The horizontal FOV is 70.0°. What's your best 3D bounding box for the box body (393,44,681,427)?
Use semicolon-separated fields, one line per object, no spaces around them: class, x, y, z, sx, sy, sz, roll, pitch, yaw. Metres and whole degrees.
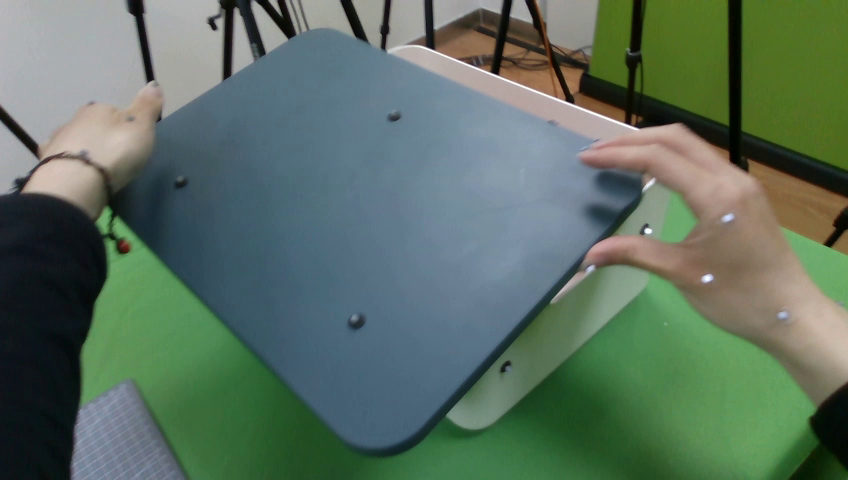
box body;0.011;-0.029;0.585;0.254;0.162;0.360;-34;47;-25

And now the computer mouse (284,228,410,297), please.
computer mouse;-0.073;0.020;0.574;0.117;0.041;0.062;6;40;8

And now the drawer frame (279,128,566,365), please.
drawer frame;-0.002;-0.009;0.617;0.199;0.083;0.213;30;54;36

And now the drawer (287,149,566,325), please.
drawer;0.004;-0.020;0.616;0.192;0.074;0.212;24;35;38

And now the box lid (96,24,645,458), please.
box lid;-0.059;-0.044;0.447;0.368;0.015;0.263;34;66;32
